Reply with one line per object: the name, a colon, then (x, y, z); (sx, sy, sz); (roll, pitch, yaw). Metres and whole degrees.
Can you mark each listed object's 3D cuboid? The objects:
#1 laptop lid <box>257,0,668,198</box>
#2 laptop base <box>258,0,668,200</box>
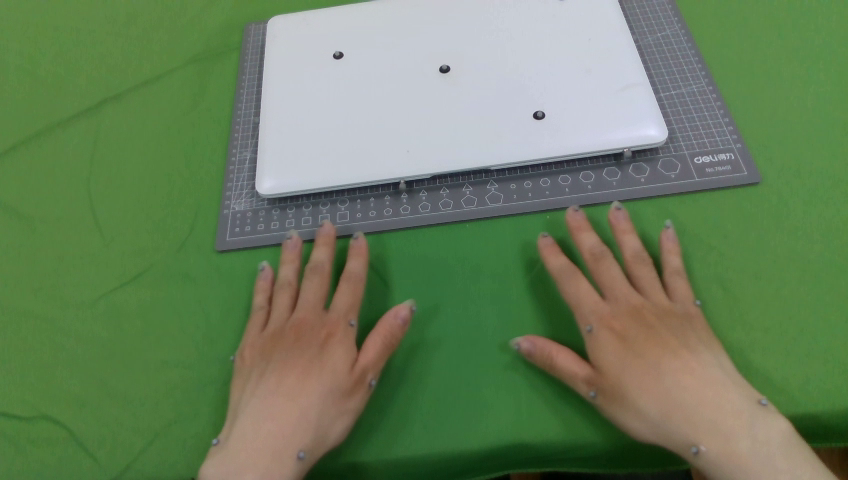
laptop lid: (0.021, -0.155, 0.566); (0.356, 0.013, 0.239); (-6, 59, 3)
laptop base: (0.023, -0.151, 0.577); (0.354, 0.023, 0.233); (-7, 60, 2)
